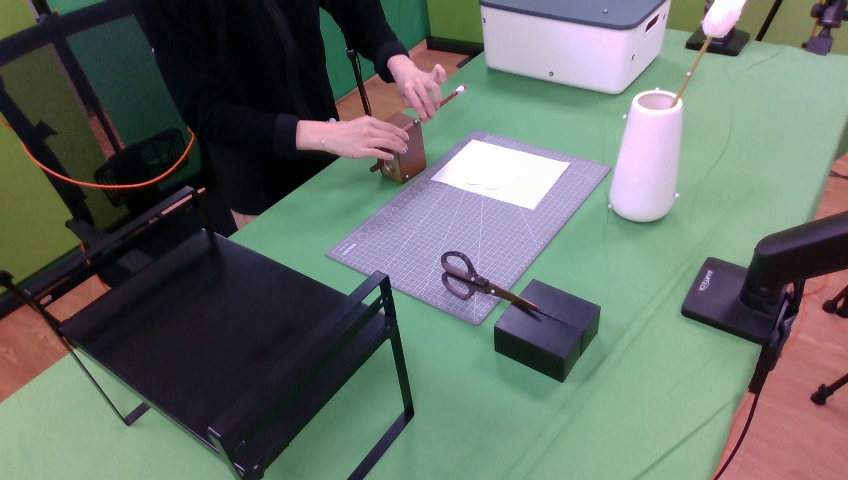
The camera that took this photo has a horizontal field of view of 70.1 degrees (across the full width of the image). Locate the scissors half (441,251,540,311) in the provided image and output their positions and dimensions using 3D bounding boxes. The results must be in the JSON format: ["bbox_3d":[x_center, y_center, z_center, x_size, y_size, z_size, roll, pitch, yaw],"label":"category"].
[{"bbox_3d":[0.087,0.056,0.824,0.013,0.040,0.173,-30,44,-35],"label":"scissors half"}]

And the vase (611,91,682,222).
[{"bbox_3d":[0.348,-0.125,0.935,0.098,0.201,0.097,-3,40,3],"label":"vase"}]

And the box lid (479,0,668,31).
[{"bbox_3d":[0.335,-0.536,1.331,0.368,0.015,0.264,23,49,30],"label":"box lid"}]

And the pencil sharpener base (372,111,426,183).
[{"bbox_3d":[-0.046,-0.169,1.114,0.061,0.107,0.077,26,52,33],"label":"pencil sharpener base"}]

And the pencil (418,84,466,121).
[{"bbox_3d":[0.020,-0.250,1.153,0.012,0.012,0.194,26,53,32],"label":"pencil"}]

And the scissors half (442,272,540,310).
[{"bbox_3d":[0.089,0.074,0.832,0.013,0.040,0.173,-24,23,-38],"label":"scissors half"}]

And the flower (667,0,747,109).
[{"bbox_3d":[0.354,-0.187,0.879,0.038,0.362,0.044,31,48,14],"label":"flower"}]

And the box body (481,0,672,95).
[{"bbox_3d":[0.341,-0.480,1.381,0.361,0.161,0.255,22,48,30],"label":"box body"}]

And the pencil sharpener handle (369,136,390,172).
[{"bbox_3d":[-0.084,-0.152,1.082,0.036,0.068,0.031,37,57,20],"label":"pencil sharpener handle"}]
